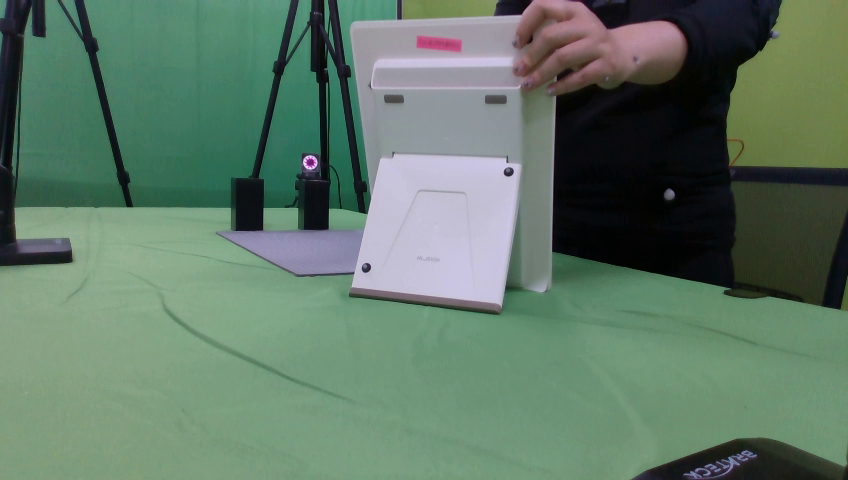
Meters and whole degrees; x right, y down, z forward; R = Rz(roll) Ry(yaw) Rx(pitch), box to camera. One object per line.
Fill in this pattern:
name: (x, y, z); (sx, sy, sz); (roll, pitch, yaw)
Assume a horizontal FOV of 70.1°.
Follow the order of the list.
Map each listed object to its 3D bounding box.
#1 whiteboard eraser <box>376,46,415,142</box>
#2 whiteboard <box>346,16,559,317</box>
whiteboard eraser: (-0.031, -0.158, 0.658); (0.041, 0.101, 0.019); (5, 18, 12)
whiteboard: (0.012, -0.055, 0.609); (0.216, 0.305, 0.144); (5, 26, 19)
